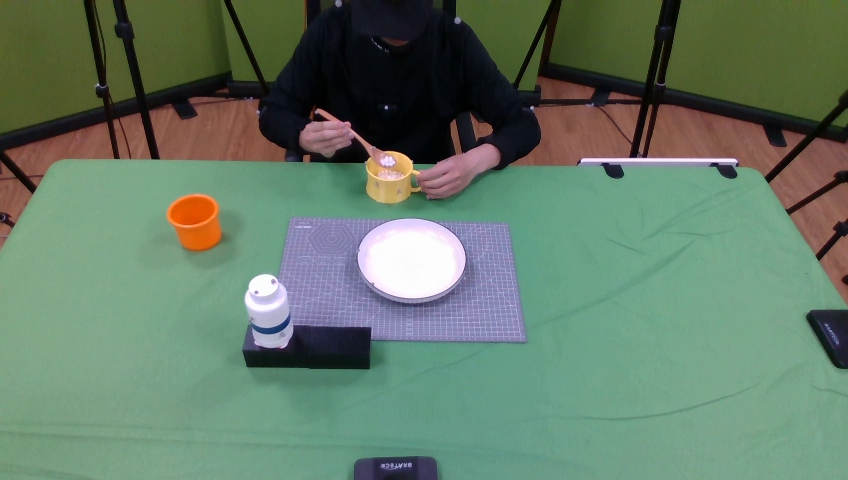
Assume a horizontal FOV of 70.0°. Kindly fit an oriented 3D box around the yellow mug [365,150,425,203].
[{"bbox_3d":[-0.061,-0.133,1.291,0.131,0.064,0.099,9,47,3],"label":"yellow mug"}]

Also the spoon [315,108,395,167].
[{"bbox_3d":[-0.142,-0.212,1.243,0.194,0.021,0.041,39,49,-10],"label":"spoon"}]

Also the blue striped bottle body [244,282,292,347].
[{"bbox_3d":[-0.241,0.108,0.937,0.063,0.121,0.062,2,46,-2],"label":"blue striped bottle body"}]

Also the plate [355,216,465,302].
[{"bbox_3d":[-0.027,0.039,1.144,0.208,0.039,0.206,2,46,-2],"label":"plate"}]

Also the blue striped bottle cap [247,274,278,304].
[{"bbox_3d":[-0.239,0.072,0.900,0.044,0.021,0.044,4,46,-4],"label":"blue striped bottle cap"}]
